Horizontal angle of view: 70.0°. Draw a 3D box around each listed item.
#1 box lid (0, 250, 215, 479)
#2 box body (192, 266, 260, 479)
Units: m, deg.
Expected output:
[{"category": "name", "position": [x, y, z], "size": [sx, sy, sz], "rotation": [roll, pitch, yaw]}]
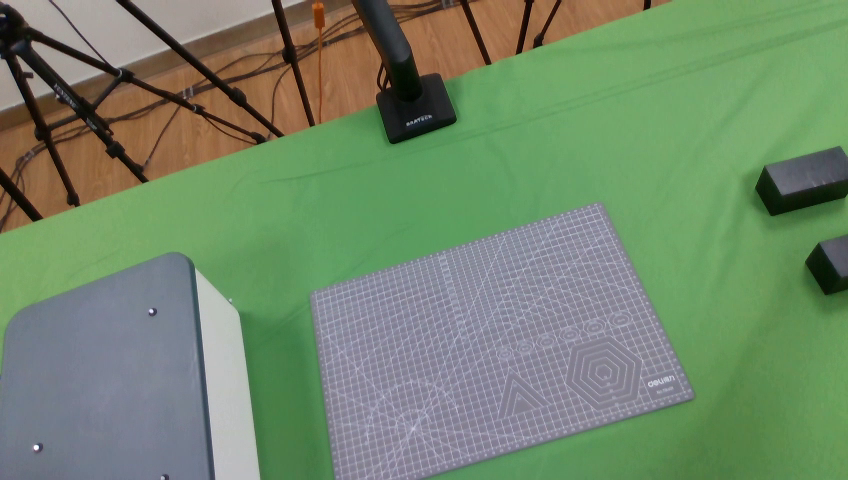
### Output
[{"category": "box lid", "position": [-0.376, 0.196, 0.697], "size": [0.263, 0.015, 0.367], "rotation": [-20, 59, 1]}, {"category": "box body", "position": [-0.361, 0.234, 0.760], "size": [0.254, 0.162, 0.360], "rotation": [-20, 59, 1]}]
